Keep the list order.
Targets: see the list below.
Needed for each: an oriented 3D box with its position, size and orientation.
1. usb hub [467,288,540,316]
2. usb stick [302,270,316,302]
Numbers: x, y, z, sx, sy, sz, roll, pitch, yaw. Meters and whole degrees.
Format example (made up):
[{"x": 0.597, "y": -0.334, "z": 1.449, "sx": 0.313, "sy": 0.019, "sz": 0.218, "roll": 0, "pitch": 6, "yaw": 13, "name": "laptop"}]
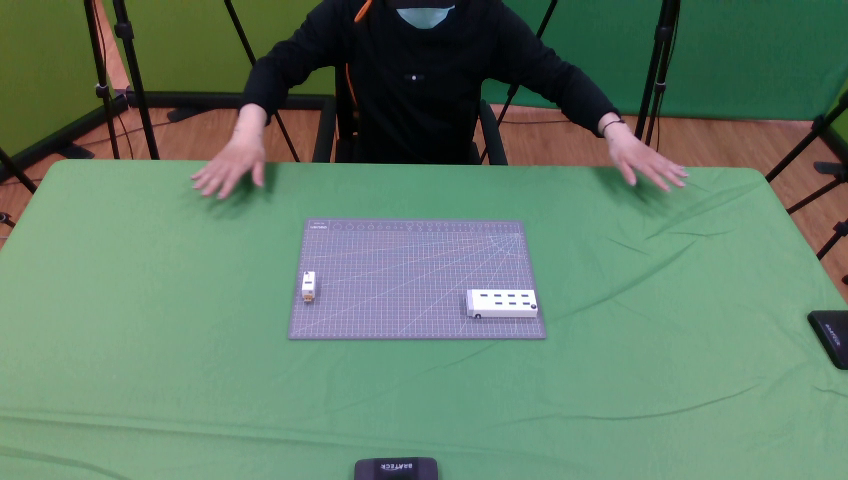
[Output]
[{"x": 0.142, "y": 0.112, "z": 1.089, "sx": 0.125, "sy": 0.025, "sz": 0.049, "roll": 0, "pitch": 46, "yaw": -2, "name": "usb hub"}, {"x": -0.207, "y": 0.085, "z": 1.092, "sx": 0.021, "sy": 0.027, "sz": 0.059, "roll": 1, "pitch": 49, "yaw": -5, "name": "usb stick"}]
